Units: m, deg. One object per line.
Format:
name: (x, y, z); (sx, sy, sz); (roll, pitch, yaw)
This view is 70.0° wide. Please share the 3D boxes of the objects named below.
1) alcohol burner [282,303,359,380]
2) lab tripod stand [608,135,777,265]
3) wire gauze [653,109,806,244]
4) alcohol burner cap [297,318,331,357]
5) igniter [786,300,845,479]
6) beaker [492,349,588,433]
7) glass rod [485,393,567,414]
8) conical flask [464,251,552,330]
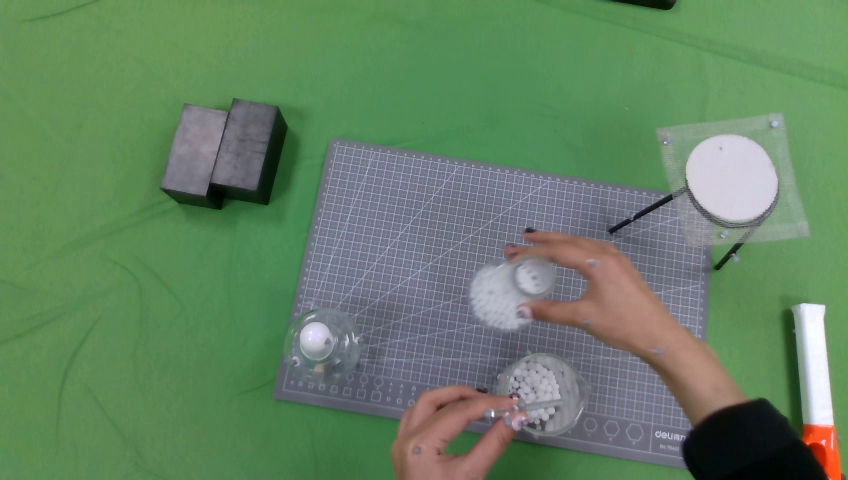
alcohol burner: (-0.104, 0.099, 0.599); (0.078, 0.119, 0.077); (1, 75, -3)
lab tripod stand: (0.283, -0.040, 0.632); (0.148, 0.132, 0.147); (0, 78, -2)
wire gauze: (0.287, -0.059, 0.567); (0.125, 0.011, 0.121); (-6, 79, -3)
alcohol burner cap: (-0.103, 0.088, 0.564); (0.034, 0.048, 0.033); (3, 70, -8)
igniter: (0.409, 0.200, 0.634); (0.057, 0.025, 0.275); (5, 77, -11)
beaker: (0.109, 0.148, 0.600); (0.084, 0.100, 0.073); (-9, 77, -3)
glass rod: (0.089, 0.133, 0.497); (0.008, 0.201, 0.008); (-6, 77, 27)
conical flask: (0.082, 0.041, 0.555); (0.075, 0.122, 0.075); (1, 77, -6)
